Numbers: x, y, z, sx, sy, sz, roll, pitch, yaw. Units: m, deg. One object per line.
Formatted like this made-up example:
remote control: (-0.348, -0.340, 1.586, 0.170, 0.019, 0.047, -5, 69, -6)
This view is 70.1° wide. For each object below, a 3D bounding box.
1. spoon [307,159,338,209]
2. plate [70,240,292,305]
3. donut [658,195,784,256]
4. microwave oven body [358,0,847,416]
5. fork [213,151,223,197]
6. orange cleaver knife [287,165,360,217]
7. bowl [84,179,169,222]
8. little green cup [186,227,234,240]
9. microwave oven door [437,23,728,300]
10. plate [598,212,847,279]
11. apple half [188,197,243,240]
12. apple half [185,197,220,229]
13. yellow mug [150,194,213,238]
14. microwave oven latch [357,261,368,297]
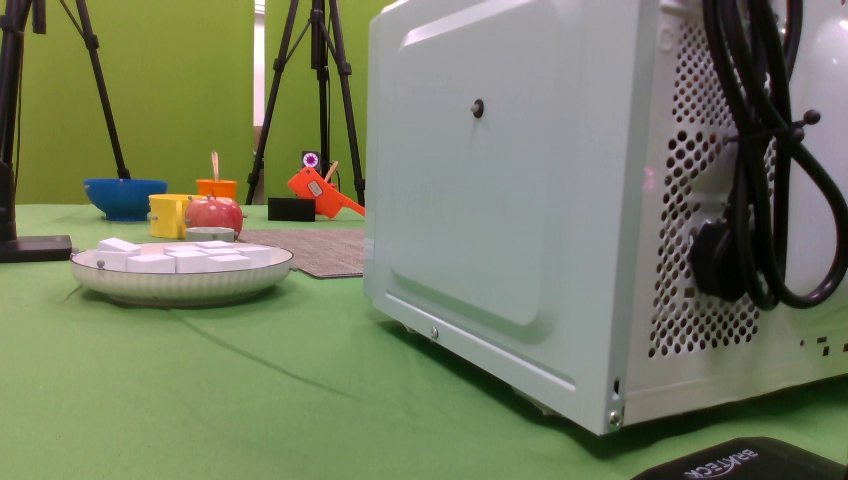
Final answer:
spoon: (-0.257, -0.147, 1.567, 0.041, 0.022, 0.193, 2, 50, 19)
plate: (-0.242, 0.031, 0.618, 0.208, 0.039, 0.207, 2, 8, 0)
donut: (0.251, -0.012, 0.517, 0.099, 0.048, 0.099, 5, 7, 0)
microwave oven body: (0.211, -0.047, 0.474, 0.444, 0.260, 0.324, -1, 7, -28)
fork: (-0.494, -0.143, 1.442, 0.028, 0.018, 0.206, -2, 52, -20)
orange cleaver knife: (-0.211, -0.093, 1.382, 0.212, 0.077, 0.012, 34, 1, -15)
bowl: (-0.584, -0.078, 1.194, 0.151, 0.077, 0.151, 3, 8, 0)
little green cup: (-0.284, 0.005, 0.805, 0.061, 0.038, 0.061, 3, 8, 0)
microwave oven door: (0.181, -0.072, 0.621, 0.358, 0.243, 0.039, -2, 8, -29)
plate: (0.255, 0.002, 0.519, 0.209, 0.038, 0.209, 2, 7, 0)
apple half: (-0.305, -0.026, 0.907, 0.053, 0.074, 0.081, 12, 8, 31)
apple half: (-0.338, -0.031, 0.927, 0.032, 0.081, 0.081, 12, 12, 31)
yellow mug: (-0.401, -0.040, 1.003, 0.100, 0.064, 0.130, -1, 8, -20)
microwave oven latch: (-0.019, 0.033, 0.531, 0.079, 0.029, 0.030, -1, 7, -27)
